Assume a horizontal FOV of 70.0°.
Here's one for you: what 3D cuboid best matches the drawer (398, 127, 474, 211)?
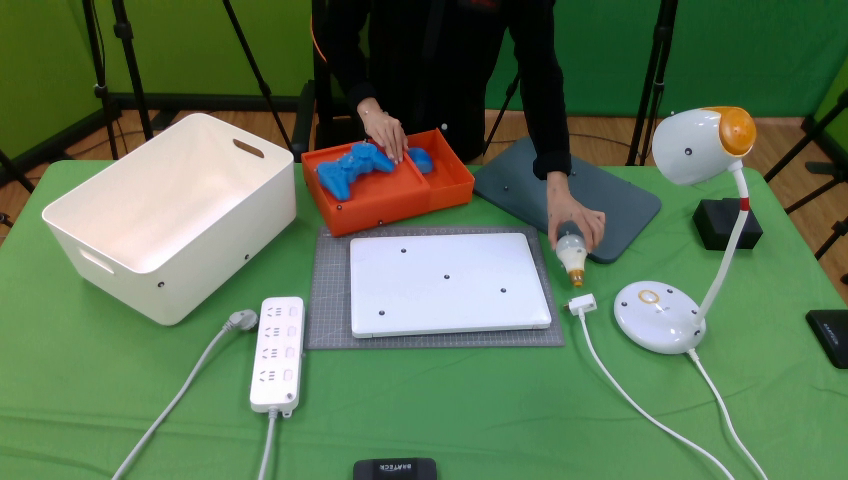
[{"bbox_3d":[-0.029,-0.143,1.295,0.212,0.073,0.193,-15,50,-19],"label":"drawer"}]

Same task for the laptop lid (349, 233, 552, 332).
[{"bbox_3d":[0.040,0.070,1.119,0.357,0.013,0.240,-1,44,-5],"label":"laptop lid"}]

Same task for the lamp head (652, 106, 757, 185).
[{"bbox_3d":[0.410,-0.139,0.869,0.113,0.122,0.112,0,89,-19],"label":"lamp head"}]

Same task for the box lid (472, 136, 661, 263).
[{"bbox_3d":[0.306,-0.102,1.327,0.370,0.015,0.263,32,51,25],"label":"box lid"}]

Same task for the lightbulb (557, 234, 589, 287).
[{"bbox_3d":[0.285,0.039,1.147,0.059,0.060,0.107,0,60,-4],"label":"lightbulb"}]

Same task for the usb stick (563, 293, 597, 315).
[{"bbox_3d":[0.280,0.118,1.093,0.059,0.021,0.027,-18,35,25],"label":"usb stick"}]

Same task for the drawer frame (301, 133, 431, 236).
[{"bbox_3d":[-0.122,-0.120,1.260,0.214,0.083,0.200,-16,50,-20],"label":"drawer frame"}]

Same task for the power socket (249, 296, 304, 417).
[{"bbox_3d":[-0.239,0.182,0.996,0.072,0.033,0.225,-2,47,-5],"label":"power socket"}]

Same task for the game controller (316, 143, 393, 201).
[{"bbox_3d":[-0.144,-0.146,1.212,0.096,0.052,0.155,32,50,29],"label":"game controller"}]

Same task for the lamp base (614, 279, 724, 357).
[{"bbox_3d":[0.436,0.090,1.034,0.161,0.181,0.178,-23,55,-24],"label":"lamp base"}]

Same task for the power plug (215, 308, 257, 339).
[{"bbox_3d":[-0.317,0.143,1.024,0.072,0.053,0.035,-32,58,-8],"label":"power plug"}]

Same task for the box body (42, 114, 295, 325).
[{"bbox_3d":[-0.437,-0.046,1.110,0.253,0.161,0.363,24,49,19],"label":"box body"}]

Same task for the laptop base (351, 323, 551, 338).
[{"bbox_3d":[0.039,0.080,1.126,0.355,0.023,0.234,-2,43,-6],"label":"laptop base"}]
